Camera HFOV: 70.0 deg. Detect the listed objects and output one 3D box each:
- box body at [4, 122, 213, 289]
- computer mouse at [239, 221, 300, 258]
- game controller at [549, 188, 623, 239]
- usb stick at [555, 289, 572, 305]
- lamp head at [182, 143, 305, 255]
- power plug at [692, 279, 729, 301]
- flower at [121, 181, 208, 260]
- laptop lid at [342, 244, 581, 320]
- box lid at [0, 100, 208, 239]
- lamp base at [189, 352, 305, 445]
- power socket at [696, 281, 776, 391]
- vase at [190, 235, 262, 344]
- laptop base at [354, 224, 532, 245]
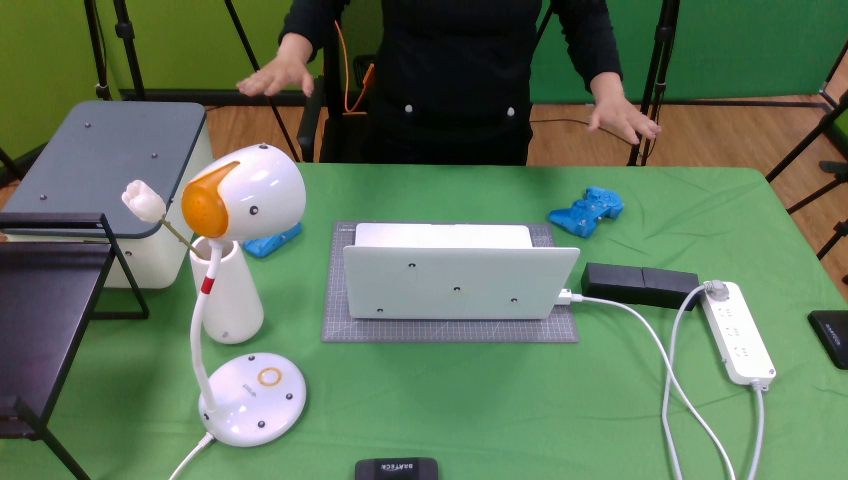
[{"bbox_3d":[-0.563,-0.088,1.139,0.254,0.161,0.361,2,46,-3],"label":"box body"},{"bbox_3d":[-0.300,-0.016,1.178,0.062,0.041,0.117,35,58,23],"label":"computer mouse"},{"bbox_3d":[0.345,-0.065,1.272,0.155,0.052,0.096,-31,58,-29],"label":"game controller"},{"bbox_3d":[0.236,0.103,1.101,0.059,0.027,0.021,0,48,1],"label":"usb stick"},{"bbox_3d":[-0.216,-0.044,0.697,0.112,0.113,0.123,23,31,17],"label":"lamp head"},{"bbox_3d":[0.522,0.092,1.115,0.072,0.053,0.035,8,46,7],"label":"power plug"},{"bbox_3d":[-0.329,0.029,0.905,0.038,0.364,0.044,-22,58,-1],"label":"flower"},{"bbox_3d":[0.051,0.074,0.969,0.357,0.243,0.013,1,56,-5],"label":"laptop lid"},{"bbox_3d":[-0.559,-0.138,1.085,0.263,0.015,0.369,2,46,-2],"label":"box lid"},{"bbox_3d":[-0.268,0.196,0.876,0.160,0.181,0.179,25,52,19],"label":"lamp base"},{"bbox_3d":[0.550,0.160,1.078,0.072,0.033,0.225,2,46,-1],"label":"power socket"},{"bbox_3d":[-0.317,0.081,0.971,0.098,0.201,0.097,3,47,-3],"label":"vase"},{"bbox_3d":[0.040,0.056,1.149,0.355,0.023,0.234,1,43,-4],"label":"laptop base"}]
